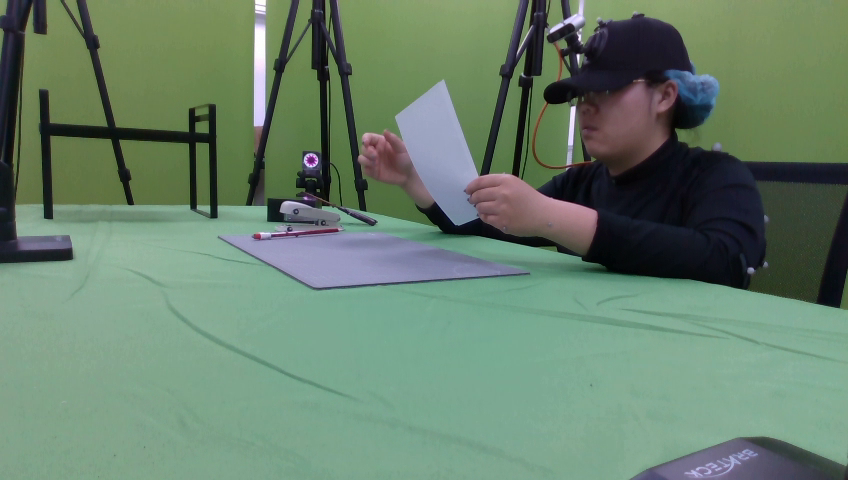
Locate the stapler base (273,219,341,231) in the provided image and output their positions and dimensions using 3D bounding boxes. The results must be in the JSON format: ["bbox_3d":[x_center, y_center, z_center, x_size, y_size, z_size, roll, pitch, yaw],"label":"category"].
[{"bbox_3d":[-0.226,-0.031,1.172,0.131,0.024,0.041,0,10,-34],"label":"stapler base"}]

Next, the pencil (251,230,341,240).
[{"bbox_3d":[-0.215,-0.011,1.049,0.012,0.012,0.195,9,9,39],"label":"pencil"}]

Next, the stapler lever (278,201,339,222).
[{"bbox_3d":[-0.223,-0.054,1.170,0.119,0.040,0.026,-1,11,-34],"label":"stapler lever"}]

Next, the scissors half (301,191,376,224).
[{"bbox_3d":[-0.189,-0.073,1.334,0.175,0.013,0.040,22,12,-10],"label":"scissors half"}]

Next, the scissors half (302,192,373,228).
[{"bbox_3d":[-0.191,-0.068,1.314,0.175,0.013,0.040,26,17,7],"label":"scissors half"}]
